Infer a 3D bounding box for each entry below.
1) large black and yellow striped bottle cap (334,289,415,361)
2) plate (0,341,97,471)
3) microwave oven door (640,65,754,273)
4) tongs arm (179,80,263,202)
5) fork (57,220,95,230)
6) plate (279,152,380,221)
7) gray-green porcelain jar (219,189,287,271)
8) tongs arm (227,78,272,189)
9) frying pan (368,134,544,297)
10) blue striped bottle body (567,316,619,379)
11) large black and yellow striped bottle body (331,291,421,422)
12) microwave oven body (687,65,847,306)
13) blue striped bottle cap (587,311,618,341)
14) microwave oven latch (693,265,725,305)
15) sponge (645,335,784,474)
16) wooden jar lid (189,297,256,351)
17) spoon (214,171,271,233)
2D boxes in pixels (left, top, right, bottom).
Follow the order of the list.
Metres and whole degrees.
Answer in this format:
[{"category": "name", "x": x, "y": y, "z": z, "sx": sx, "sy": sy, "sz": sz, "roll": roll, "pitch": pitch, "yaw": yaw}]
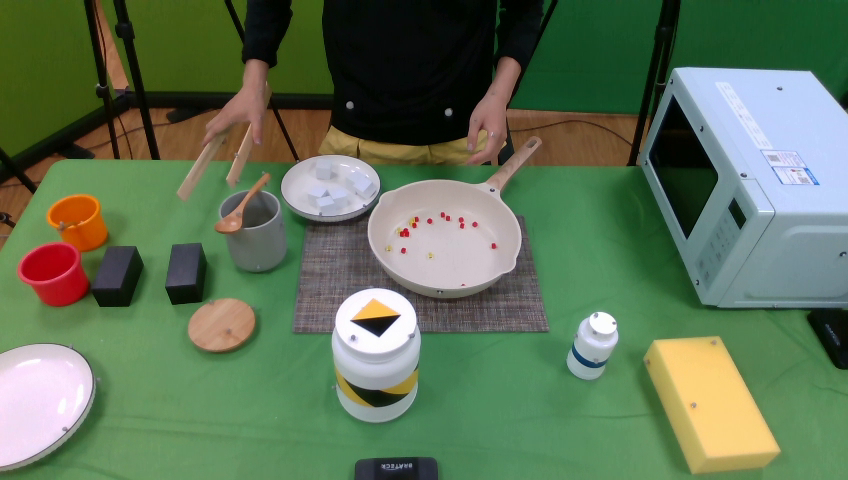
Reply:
[{"category": "large black and yellow striped bottle cap", "x": -0.069, "y": 0.117, "z": 0.850, "sx": 0.115, "sy": 0.019, "sz": 0.114, "roll": 2, "pitch": 45, "yaw": -2}, {"category": "plate", "x": -0.599, "y": 0.247, "z": 0.904, "sx": 0.209, "sy": 0.038, "sz": 0.208, "roll": 2, "pitch": 47, "yaw": -2}, {"category": "microwave oven door", "x": 0.523, "y": -0.147, "z": 1.193, "sx": 0.039, "sy": 0.245, "sz": 0.353, "roll": 0, "pitch": 47, "yaw": -3}, {"category": "tongs arm", "x": -0.427, "y": -0.221, "z": 1.287, "sx": 0.028, "sy": 0.028, "sz": 0.385, "roll": -12, "pitch": 42, "yaw": 26}, {"category": "fork", "x": -0.624, "y": -0.027, "z": 1.086, "sx": 0.028, "sy": 0.018, "sz": 0.207, "roll": -3, "pitch": 2, "yaw": -17}, {"category": "plate", "x": -0.196, "y": -0.107, "z": 1.269, "sx": 0.208, "sy": 0.039, "sz": 0.206, "roll": 2, "pitch": 45, "yaw": -2}, {"category": "gray-green porcelain jar", "x": -0.310, "y": -0.014, "z": 1.113, "sx": 0.106, "sy": 0.127, "sz": 0.105, "roll": 2, "pitch": 46, "yaw": -2}, {"category": "tongs arm", "x": -0.369, "y": -0.234, "z": 1.268, "sx": 0.051, "sy": 0.027, "sz": 0.382, "roll": -15, "pitch": 42, "yaw": 19}, {"category": "frying pan", "x": 0.104, "y": -0.069, "z": 1.205, "sx": 0.305, "sy": 0.103, "sz": 0.487, "roll": 32, "pitch": 61, "yaw": 23}, {"category": "blue striped bottle body", "x": 0.276, "y": 0.168, "z": 0.984, "sx": 0.063, "sy": 0.121, "sz": 0.062, "roll": 2, "pitch": 46, "yaw": -2}, {"category": "large black and yellow striped bottle body", "x": -0.071, "y": 0.175, "z": 0.911, "sx": 0.131, "sy": 0.185, "sz": 0.130, "roll": 2, "pitch": 47, "yaw": -2}, {"category": "microwave oven body", "x": 0.669, "y": -0.111, "z": 1.176, "sx": 0.326, "sy": 0.261, "sz": 0.439, "roll": 0, "pitch": 46, "yaw": -3}, {"category": "blue striped bottle cap", "x": 0.279, "y": 0.134, "z": 0.947, "sx": 0.044, "sy": 0.021, "sz": 0.044, "roll": 2, "pitch": 45, "yaw": -2}, {"category": "microwave oven latch", "x": 0.523, "y": 0.081, "z": 1.116, "sx": 0.030, "sy": 0.029, "sz": 0.078, "roll": 2, "pitch": 46, "yaw": -1}, {"category": "sponge", "x": 0.449, "y": 0.253, "z": 0.956, "sx": 0.118, "sy": 0.061, "sz": 0.205, "roll": -4, "pitch": 46, "yaw": -7}, {"category": "wooden jar lid", "x": -0.342, "y": 0.145, "z": 1.033, "sx": 0.108, "sy": 0.021, "sz": 0.107, "roll": 2, "pitch": 45, "yaw": -2}, {"category": "spoon", "x": -0.312, "y": -0.070, "z": 1.070, "sx": 0.041, "sy": 0.022, "sz": 0.193, "roll": 8, "pitch": 43, "yaw": 11}]
